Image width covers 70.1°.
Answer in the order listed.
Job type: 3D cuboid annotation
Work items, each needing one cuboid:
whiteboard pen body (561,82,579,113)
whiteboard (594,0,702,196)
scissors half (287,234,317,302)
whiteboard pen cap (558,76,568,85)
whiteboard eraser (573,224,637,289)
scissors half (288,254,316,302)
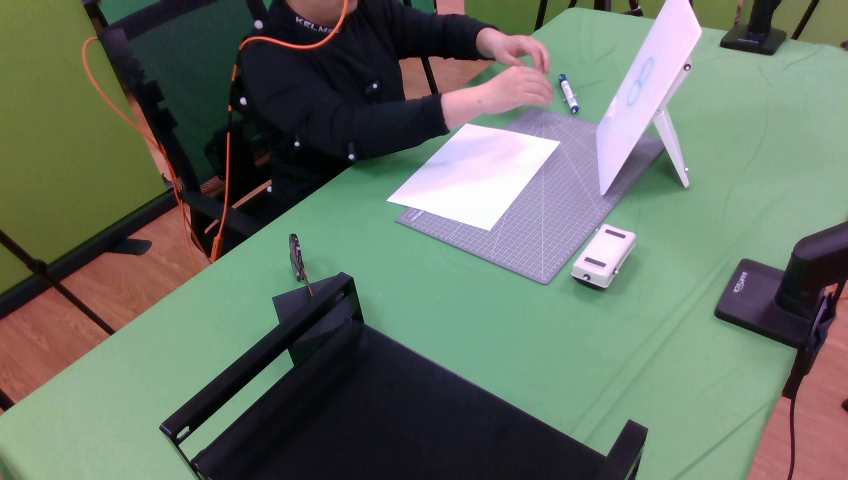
[{"bbox_3d":[0.310,-0.311,1.298,0.017,0.017,0.140,-6,41,3],"label":"whiteboard pen body"},{"bbox_3d":[0.420,-0.227,1.010,0.144,0.305,0.216,18,42,-2],"label":"whiteboard"},{"bbox_3d":[-0.179,0.040,0.884,0.013,0.040,0.173,-11,36,-20],"label":"scissors half"},{"bbox_3d":[0.309,-0.350,1.340,0.018,0.018,0.033,-6,41,2],"label":"whiteboard pen cap"},{"bbox_3d":[0.267,0.025,0.890,0.055,0.042,0.113,19,47,31],"label":"whiteboard eraser"},{"bbox_3d":[-0.178,0.058,0.894,0.013,0.040,0.174,-16,20,-17],"label":"scissors half"}]
